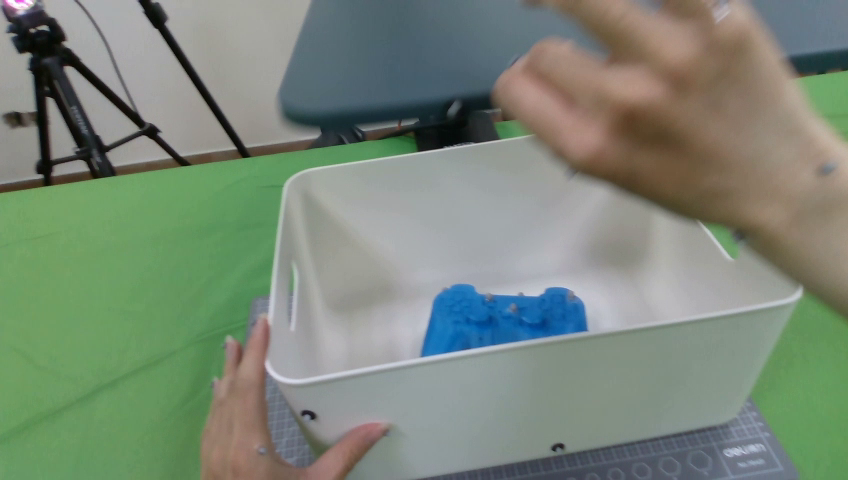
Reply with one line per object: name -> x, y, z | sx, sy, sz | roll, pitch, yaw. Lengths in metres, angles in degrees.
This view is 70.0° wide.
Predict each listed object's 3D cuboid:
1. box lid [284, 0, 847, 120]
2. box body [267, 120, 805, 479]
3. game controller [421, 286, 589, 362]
box lid -> 0.105, -0.151, 0.389 | 0.371, 0.015, 0.260 | -6, 35, 1
box body -> 0.071, 0.047, 0.526 | 0.364, 0.162, 0.251 | -9, 39, -2
game controller -> 0.078, 0.082, 0.565 | 0.155, 0.052, 0.096 | 2, 36, 10
